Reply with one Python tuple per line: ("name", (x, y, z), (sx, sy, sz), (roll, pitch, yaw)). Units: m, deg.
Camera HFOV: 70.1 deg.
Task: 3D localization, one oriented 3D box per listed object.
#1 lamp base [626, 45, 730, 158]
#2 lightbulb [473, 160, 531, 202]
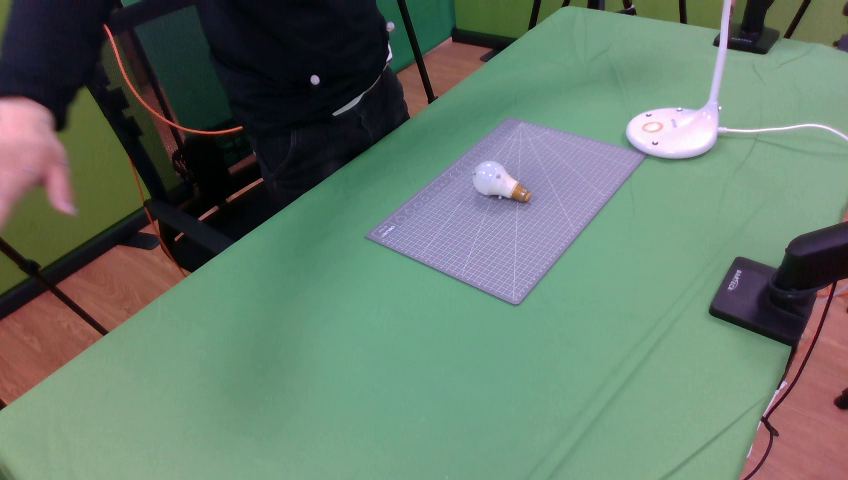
("lamp base", (0.467, -0.262, 1.085), (0.179, 0.181, 0.159), (-5, 41, -1))
("lightbulb", (0.134, -0.097, 1.038), (0.107, 0.059, 0.059), (29, 50, 15))
